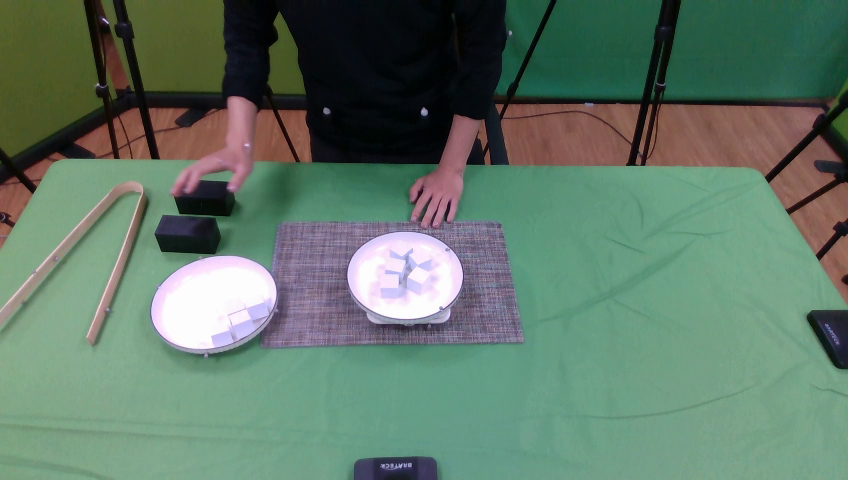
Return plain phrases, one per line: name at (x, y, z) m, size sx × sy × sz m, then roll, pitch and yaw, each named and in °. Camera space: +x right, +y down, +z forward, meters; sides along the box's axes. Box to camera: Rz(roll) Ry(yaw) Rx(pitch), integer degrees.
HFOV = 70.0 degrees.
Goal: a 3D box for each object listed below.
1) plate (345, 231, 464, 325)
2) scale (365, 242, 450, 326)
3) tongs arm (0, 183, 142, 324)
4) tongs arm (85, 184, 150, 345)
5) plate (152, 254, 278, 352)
plate at (-0.034, 0.069, 1.069) m, size 0.209 × 0.038 × 0.208 m, roll 2°, pitch 46°, yaw -2°
scale at (-0.032, 0.071, 1.113) m, size 0.149 × 0.032 × 0.199 m, roll 0°, pitch 46°, yaw -4°
tongs arm at (-0.648, 0.017, 1.121) m, size 0.051 × 0.026 × 0.383 m, roll 11°, pitch 45°, yaw 6°
tongs arm at (-0.561, 0.029, 1.121) m, size 0.028 × 0.028 × 0.385 m, roll -3°, pitch 46°, yaw -2°
plate at (-0.357, 0.111, 1.052) m, size 0.208 × 0.039 × 0.206 m, roll 2°, pitch 46°, yaw -2°
